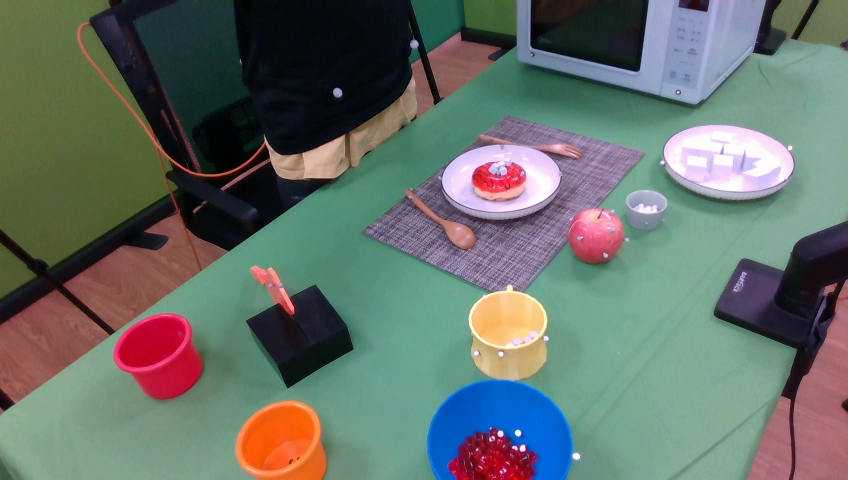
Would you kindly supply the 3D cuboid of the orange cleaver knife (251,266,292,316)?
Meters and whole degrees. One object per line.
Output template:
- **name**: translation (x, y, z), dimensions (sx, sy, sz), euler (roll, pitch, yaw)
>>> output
- **orange cleaver knife**: translation (-0.221, 0.071, 0.873), dimensions (0.012, 0.077, 0.210), euler (-25, 11, -21)

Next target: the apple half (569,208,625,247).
- **apple half**: translation (0.262, -0.014, 0.913), dimensions (0.080, 0.075, 0.053), euler (5, 37, 20)

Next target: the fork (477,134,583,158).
- **fork**: translation (0.199, -0.182, 1.155), dimensions (0.206, 0.019, 0.028), euler (12, 55, 22)

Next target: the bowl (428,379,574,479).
- **bowl**: translation (0.082, 0.233, 0.644), dimensions (0.151, 0.077, 0.150), euler (-4, 40, 4)

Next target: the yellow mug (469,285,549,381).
- **yellow mug**: translation (0.112, 0.112, 0.792), dimensions (0.100, 0.064, 0.130), euler (0, 40, 9)

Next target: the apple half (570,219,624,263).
- **apple half**: translation (0.250, 0.010, 0.885), dimensions (0.081, 0.081, 0.033), euler (8, 39, 17)

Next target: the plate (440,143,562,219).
- **plate**: translation (0.134, -0.098, 1.052), dimensions (0.209, 0.038, 0.208), euler (-4, 40, 4)

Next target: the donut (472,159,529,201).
- **donut**: translation (0.132, -0.105, 1.043), dimensions (0.099, 0.048, 0.098), euler (-5, 38, 5)

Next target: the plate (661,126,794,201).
- **plate**: translation (0.513, -0.128, 1.035), dimensions (0.207, 0.039, 0.206), euler (-4, 40, 4)

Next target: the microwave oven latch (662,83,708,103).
- **microwave oven latch**: translation (0.518, -0.296, 1.204), dimensions (0.078, 0.029, 0.030), euler (28, 52, 35)

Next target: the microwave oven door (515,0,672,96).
- **microwave oven door**: translation (0.344, -0.455, 1.259), dimensions (0.353, 0.245, 0.039), euler (26, 51, 33)

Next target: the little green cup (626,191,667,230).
- **little green cup**: translation (0.352, -0.046, 0.963), dimensions (0.061, 0.039, 0.061), euler (-4, 40, 4)

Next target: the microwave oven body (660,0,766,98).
- **microwave oven body**: translation (0.472, -0.513, 1.317), dimensions (0.438, 0.261, 0.327), euler (26, 51, 34)

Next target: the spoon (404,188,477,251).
- **spoon**: translation (0.021, -0.039, 1.019), dimensions (0.042, 0.022, 0.192), euler (-30, 45, -23)
